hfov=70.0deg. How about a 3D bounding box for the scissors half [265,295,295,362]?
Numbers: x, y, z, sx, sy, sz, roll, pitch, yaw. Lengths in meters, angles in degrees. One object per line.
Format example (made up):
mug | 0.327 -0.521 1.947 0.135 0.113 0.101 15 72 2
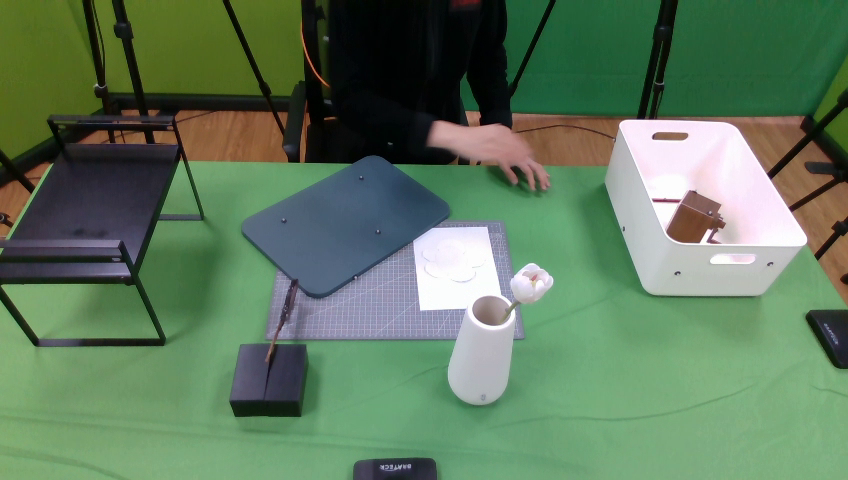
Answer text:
scissors half | -0.239 0.143 1.005 0.013 0.040 0.174 17 28 -7

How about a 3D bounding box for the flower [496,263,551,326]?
flower | 0.102 0.120 0.853 0.044 0.363 0.038 -2 64 -10

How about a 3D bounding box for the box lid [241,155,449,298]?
box lid | -0.156 -0.043 1.234 0.371 0.015 0.262 -34 56 -31

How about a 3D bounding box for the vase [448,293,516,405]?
vase | 0.091 0.169 0.921 0.098 0.201 0.097 3 47 -3

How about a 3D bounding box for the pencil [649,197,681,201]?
pencil | 0.513 -0.090 1.322 0.194 0.012 0.012 2 46 2

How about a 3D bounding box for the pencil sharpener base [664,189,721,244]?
pencil sharpener base | 0.530 -0.034 1.202 0.076 0.107 0.061 30 51 21

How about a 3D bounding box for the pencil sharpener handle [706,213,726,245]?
pencil sharpener handle | 0.572 -0.019 1.174 0.030 0.068 0.036 30 47 22

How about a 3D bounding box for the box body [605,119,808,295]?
box body | 0.529 -0.068 1.205 0.254 0.161 0.361 1 46 -4

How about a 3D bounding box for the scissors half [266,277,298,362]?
scissors half | -0.234 0.127 0.993 0.013 0.040 0.174 12 46 -4
